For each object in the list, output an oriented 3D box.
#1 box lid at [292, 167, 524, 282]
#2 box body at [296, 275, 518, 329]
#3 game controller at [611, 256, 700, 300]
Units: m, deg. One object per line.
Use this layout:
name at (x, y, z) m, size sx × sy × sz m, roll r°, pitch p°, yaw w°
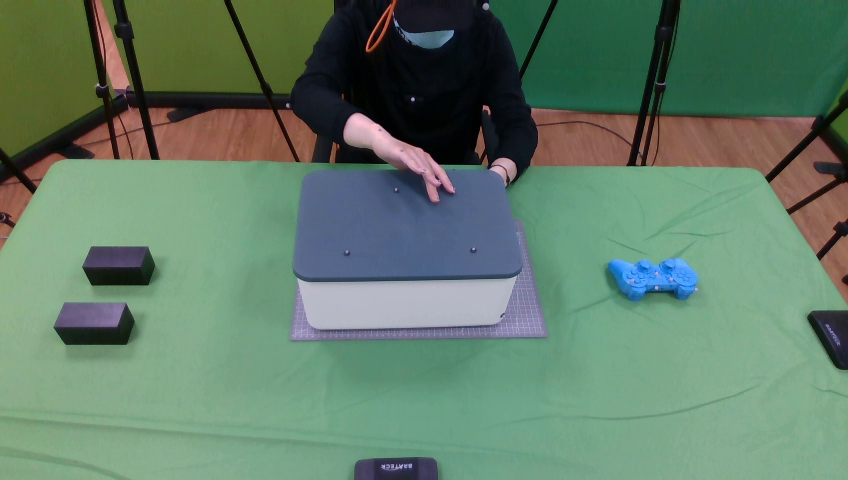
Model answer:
box lid at (-0.027, -0.034, 1.021) m, size 0.372 × 0.015 × 0.261 m, roll -1°, pitch 47°, yaw -4°
box body at (-0.032, 0.016, 1.075) m, size 0.364 × 0.161 × 0.252 m, roll -1°, pitch 47°, yaw -5°
game controller at (0.441, 0.063, 1.144) m, size 0.155 × 0.052 × 0.096 m, roll -1°, pitch 50°, yaw -4°
